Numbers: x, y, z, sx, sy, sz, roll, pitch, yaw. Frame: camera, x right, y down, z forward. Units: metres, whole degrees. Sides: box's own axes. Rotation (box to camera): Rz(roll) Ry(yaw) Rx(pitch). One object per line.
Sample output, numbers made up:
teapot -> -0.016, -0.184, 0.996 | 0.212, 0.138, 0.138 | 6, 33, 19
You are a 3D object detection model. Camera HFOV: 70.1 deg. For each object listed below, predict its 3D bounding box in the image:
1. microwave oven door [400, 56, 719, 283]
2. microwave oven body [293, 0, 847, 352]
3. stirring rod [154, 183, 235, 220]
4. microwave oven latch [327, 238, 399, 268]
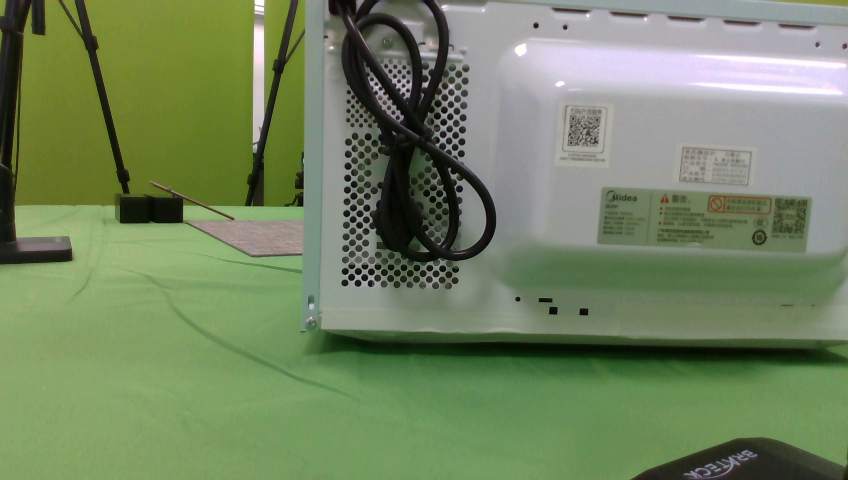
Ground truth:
microwave oven door -> 0.155, -0.077, 0.698 | 0.356, 0.243, 0.039 | 2, 8, -5
microwave oven body -> 0.122, -0.055, 0.550 | 0.442, 0.260, 0.325 | 3, 7, -5
stirring rod -> -0.472, -0.079, 1.252 | 0.177, 0.006, 0.014 | 27, 4, -35
microwave oven latch -> -0.069, 0.015, 0.694 | 0.079, 0.029, 0.030 | 3, 7, -3
